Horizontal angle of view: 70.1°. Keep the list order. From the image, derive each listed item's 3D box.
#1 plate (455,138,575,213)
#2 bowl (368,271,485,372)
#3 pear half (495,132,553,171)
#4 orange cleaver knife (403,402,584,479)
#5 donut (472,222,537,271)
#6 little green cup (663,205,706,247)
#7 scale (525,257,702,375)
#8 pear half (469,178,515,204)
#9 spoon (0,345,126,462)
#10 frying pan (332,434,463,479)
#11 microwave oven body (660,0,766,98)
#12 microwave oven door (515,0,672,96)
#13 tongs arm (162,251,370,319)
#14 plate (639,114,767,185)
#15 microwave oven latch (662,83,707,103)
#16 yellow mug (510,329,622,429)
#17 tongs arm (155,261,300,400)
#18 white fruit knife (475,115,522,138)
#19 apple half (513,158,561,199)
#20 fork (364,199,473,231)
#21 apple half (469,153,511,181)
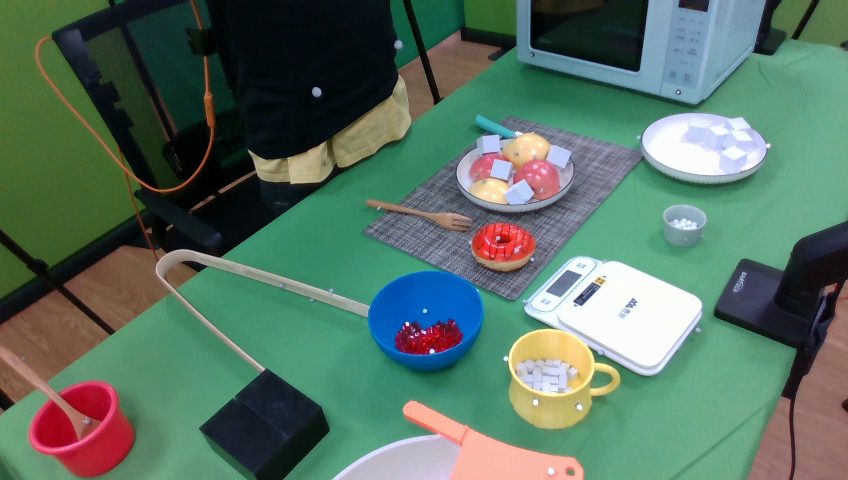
[{"bbox_3d":[0.159,-0.111,1.063,0.209,0.038,0.208,-4,40,4],"label":"plate"},{"bbox_3d":[0.007,0.119,0.791,0.151,0.077,0.150,-5,39,4],"label":"bowl"},{"bbox_3d":[0.174,-0.167,1.095,0.109,0.056,0.076,15,53,30],"label":"pear half"},{"bbox_3d":[0.062,0.222,0.609,0.210,0.012,0.077,15,48,25],"label":"orange cleaver knife"},{"bbox_3d":[0.123,0.009,0.923,0.099,0.048,0.098,-4,37,3],"label":"donut"},{"bbox_3d":[0.396,-0.020,0.926,0.061,0.039,0.061,-4,40,4],"label":"little green cup"},{"bbox_3d":[0.254,0.091,0.821,0.199,0.032,0.149,28,51,35],"label":"scale"},{"bbox_3d":[0.115,-0.090,1.036,0.087,0.031,0.071,28,38,32],"label":"pear half"},{"bbox_3d":[-0.434,0.192,0.720,0.194,0.021,0.042,47,53,-7],"label":"spoon"},{"bbox_3d":[-0.089,0.306,0.564,0.487,0.103,0.306,10,41,7],"label":"frying pan"},{"bbox_3d":[0.472,-0.513,1.317,0.438,0.261,0.327,26,51,34],"label":"microwave oven body"},{"bbox_3d":[0.343,-0.454,1.259,0.353,0.245,0.039,26,51,33],"label":"microwave oven door"},{"bbox_3d":[-0.247,0.072,0.917,0.382,0.026,0.051,15,47,26],"label":"tongs arm"},{"bbox_3d":[0.489,-0.157,1.074,0.207,0.039,0.206,-4,40,4],"label":"plate"},{"bbox_3d":[0.517,-0.296,1.204,0.078,0.029,0.030,27,52,35],"label":"microwave oven latch"},{"bbox_3d":[0.168,0.164,0.721,0.130,0.064,0.099,0,40,8],"label":"yellow mug"},{"bbox_3d":[-0.295,0.121,0.867,0.384,0.028,0.028,28,57,36],"label":"tongs arm"},{"bbox_3d":[0.177,-0.207,1.190,0.205,0.016,0.027,31,65,35],"label":"white fruit knife"},{"bbox_3d":[0.193,-0.111,1.031,0.080,0.053,0.075,11,41,26],"label":"apple half"},{"bbox_3d":[-0.014,-0.046,1.027,0.206,0.028,0.019,14,19,27],"label":"fork"},{"bbox_3d":[0.119,-0.138,1.088,0.081,0.033,0.081,-1,44,2],"label":"apple half"}]
